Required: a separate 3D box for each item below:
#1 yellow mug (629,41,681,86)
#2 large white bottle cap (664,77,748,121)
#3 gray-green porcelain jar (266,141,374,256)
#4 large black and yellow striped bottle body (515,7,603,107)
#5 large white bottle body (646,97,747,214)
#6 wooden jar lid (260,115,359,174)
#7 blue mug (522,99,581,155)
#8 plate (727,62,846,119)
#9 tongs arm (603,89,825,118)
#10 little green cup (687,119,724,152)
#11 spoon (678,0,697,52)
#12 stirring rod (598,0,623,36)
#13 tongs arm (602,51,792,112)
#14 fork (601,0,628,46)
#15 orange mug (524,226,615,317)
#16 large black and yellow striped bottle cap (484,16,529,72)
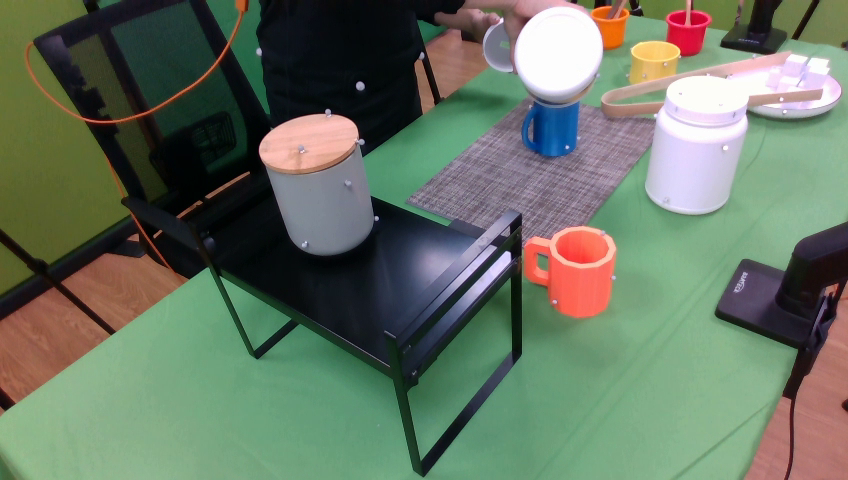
[{"bbox_3d":[0.495,-0.389,1.321,0.100,0.064,0.130,-14,40,-6],"label":"yellow mug"},{"bbox_3d":[0.421,-0.212,0.905,0.115,0.018,0.114,-4,40,4],"label":"large white bottle cap"},{"bbox_3d":[-0.117,-0.054,0.703,0.106,0.127,0.105,-4,40,4],"label":"gray-green porcelain jar"},{"bbox_3d":[0.220,-0.290,0.990,0.130,0.130,0.184,3,5,13],"label":"large black and yellow striped bottle body"},{"bbox_3d":[0.431,-0.148,0.959,0.130,0.185,0.130,-4,41,4],"label":"large white bottle body"},{"bbox_3d":[-0.124,-0.101,0.662,0.108,0.021,0.108,-4,41,4],"label":"wooden jar lid"},{"bbox_3d":[0.233,-0.218,1.127,0.117,0.106,0.081,-23,43,-16],"label":"blue mug"},{"bbox_3d":[0.709,-0.292,1.197,0.207,0.039,0.206,-4,40,4],"label":"plate"},{"bbox_3d":[0.546,-0.262,1.162,0.386,0.028,0.028,-1,49,18],"label":"tongs arm"},{"bbox_3d":[0.513,-0.191,1.109,0.061,0.039,0.061,-5,41,5],"label":"little green cup"},{"bbox_3d":[0.614,-0.526,1.402,0.041,0.022,0.193,3,86,11],"label":"spoon"},{"bbox_3d":[0.460,-0.557,1.461,0.014,0.176,0.006,35,11,23],"label":"stirring rod"},{"bbox_3d":[0.552,-0.320,1.223,0.384,0.027,0.050,-10,43,7],"label":"tongs arm"},{"bbox_3d":[0.479,-0.558,1.455,0.028,0.019,0.207,35,100,38],"label":"fork"},{"bbox_3d":[0.201,0.039,0.845,0.125,0.101,0.083,18,47,21],"label":"orange mug"},{"bbox_3d":[0.179,-0.398,1.231,0.115,0.115,0.018,-6,46,3],"label":"large black and yellow striped bottle cap"}]
